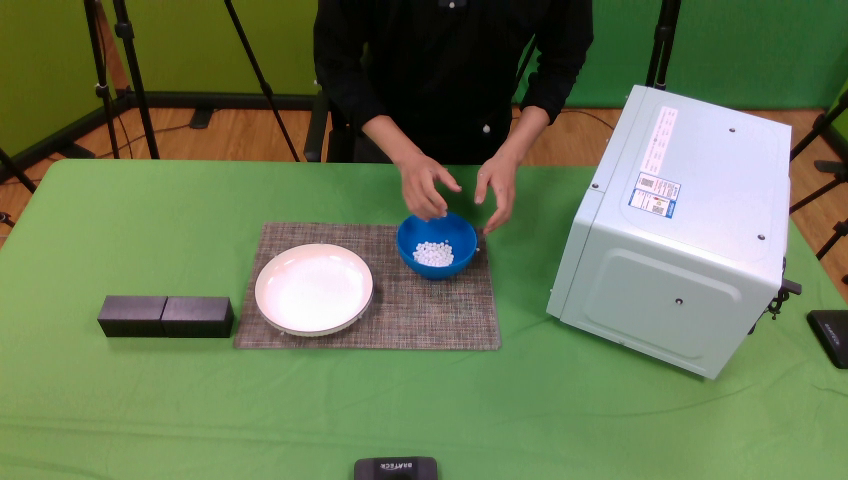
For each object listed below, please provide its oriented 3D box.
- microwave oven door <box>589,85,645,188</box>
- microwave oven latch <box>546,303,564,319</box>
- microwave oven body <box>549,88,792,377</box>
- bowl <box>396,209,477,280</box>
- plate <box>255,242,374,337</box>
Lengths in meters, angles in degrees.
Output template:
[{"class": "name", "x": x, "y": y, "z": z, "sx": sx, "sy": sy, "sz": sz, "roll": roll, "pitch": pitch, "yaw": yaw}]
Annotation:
[{"class": "microwave oven door", "x": 0.342, "y": -0.107, "z": 1.149, "sx": 0.039, "sy": 0.245, "sz": 0.354, "roll": 20, "pitch": 48, "yaw": 15}, {"class": "microwave oven latch", "x": 0.242, "y": 0.102, "z": 1.081, "sx": 0.030, "sy": 0.029, "sz": 0.079, "roll": 22, "pitch": 48, "yaw": 17}, {"class": "microwave oven body", "x": 0.456, "y": -0.028, "z": 1.088, "sx": 0.325, "sy": 0.261, "sz": 0.440, "roll": 20, "pitch": 47, "yaw": 16}, {"class": "bowl", "x": 0.021, "y": 0.021, "z": 1.134, "sx": 0.151, "sy": 0.077, "sz": 0.150, "roll": 2, "pitch": 46, "yaw": -2}, {"class": "plate", "x": -0.192, "y": 0.090, "z": 1.079, "sx": 0.208, "sy": 0.039, "sz": 0.206, "roll": 2, "pitch": 46, "yaw": -2}]
